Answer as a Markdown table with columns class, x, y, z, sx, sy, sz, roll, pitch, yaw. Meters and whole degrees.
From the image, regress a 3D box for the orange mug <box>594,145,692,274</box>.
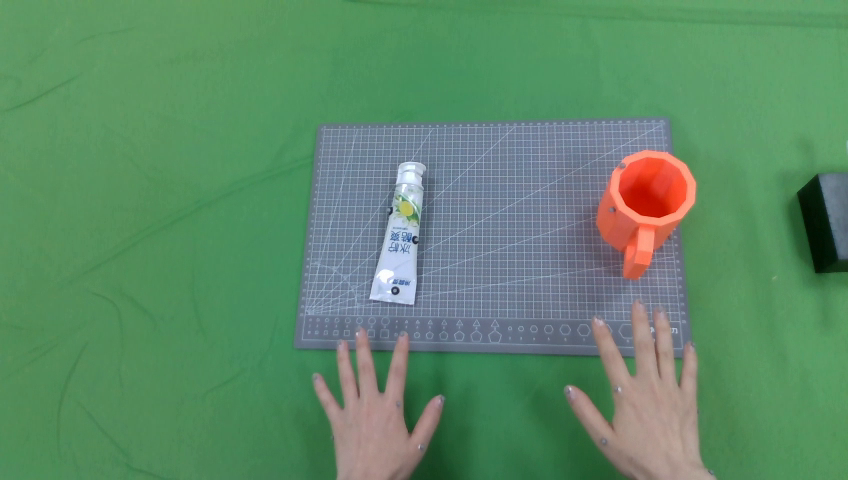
| class | x | y | z | sx | sy | sz | roll | pitch | yaw |
| --- | --- | --- | --- | --- | --- | --- | --- | --- | --- |
| orange mug | 0.237 | -0.029 | 0.668 | 0.083 | 0.101 | 0.125 | 8 | 68 | 9 |

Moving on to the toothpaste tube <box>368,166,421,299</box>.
| class | x | y | z | sx | sy | sz | roll | pitch | yaw |
| --- | --- | --- | --- | --- | --- | --- | --- | --- | --- |
| toothpaste tube | -0.031 | -0.012 | 0.730 | 0.055 | 0.035 | 0.164 | 4 | 76 | 13 |

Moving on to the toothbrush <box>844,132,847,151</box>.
| class | x | y | z | sx | sy | sz | roll | pitch | yaw |
| --- | --- | --- | --- | --- | --- | --- | --- | --- | --- |
| toothbrush | 0.463 | -0.037 | 0.641 | 0.014 | 0.017 | 0.181 | 5 | 72 | 5 |

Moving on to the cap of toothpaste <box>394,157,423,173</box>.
| class | x | y | z | sx | sy | sz | roll | pitch | yaw |
| --- | --- | --- | --- | --- | --- | --- | --- | --- | --- |
| cap of toothpaste | -0.019 | -0.091 | 0.748 | 0.037 | 0.037 | 0.011 | -3 | 70 | 5 |
